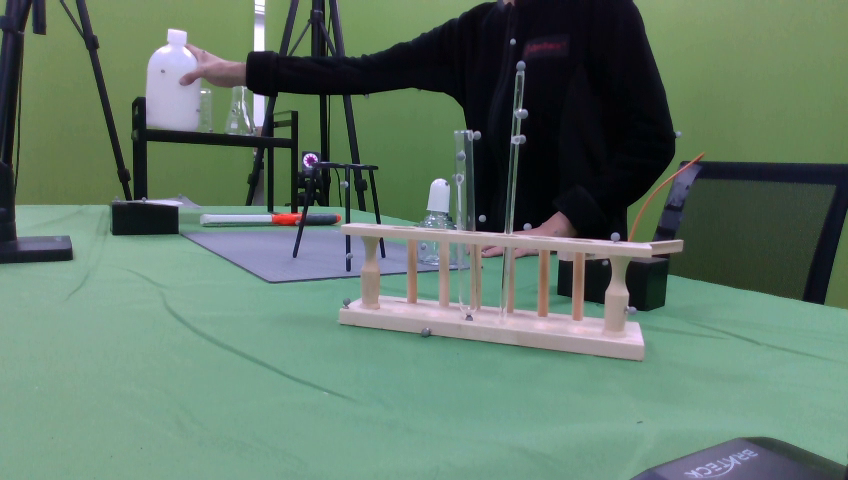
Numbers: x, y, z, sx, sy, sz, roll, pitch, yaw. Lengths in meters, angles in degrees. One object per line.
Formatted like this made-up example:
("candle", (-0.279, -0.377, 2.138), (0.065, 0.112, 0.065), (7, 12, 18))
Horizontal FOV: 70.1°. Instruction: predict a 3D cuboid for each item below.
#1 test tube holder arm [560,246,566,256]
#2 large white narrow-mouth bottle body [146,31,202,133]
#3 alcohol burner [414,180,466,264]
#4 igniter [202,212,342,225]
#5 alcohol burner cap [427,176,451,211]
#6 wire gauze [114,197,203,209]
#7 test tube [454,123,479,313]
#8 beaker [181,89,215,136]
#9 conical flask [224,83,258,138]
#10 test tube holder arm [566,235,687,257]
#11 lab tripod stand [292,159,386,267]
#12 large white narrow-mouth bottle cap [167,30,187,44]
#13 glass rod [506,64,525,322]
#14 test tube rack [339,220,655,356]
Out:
("test tube holder arm", (0.173, 0.007, 0.611), (0.088, 0.015, 0.010), (-3, 10, -30))
("large white narrow-mouth bottle body", (-0.503, -0.320, 1.221), (0.102, 0.194, 0.101), (8, 12, -1))
("alcohol burner", (0.021, -0.028, 0.826), (0.078, 0.119, 0.078), (0, 6, 0))
("igniter", (-0.298, -0.044, 1.216), (0.278, 0.025, 0.057), (-3, -2, -32))
("alcohol burner cap", (0.023, -0.064, 0.822), (0.034, 0.048, 0.034), (7, 5, 0))
("wire gauze", (-0.447, -0.062, 1.015), (0.126, 0.011, 0.121), (-2, 8, -31))
("test tube", (0.034, -0.016, 0.477), (0.017, 0.150, 0.017), (-2, 9, 1))
("beaker", (-0.511, -0.285, 1.353), (0.084, 0.100, 0.073), (-2, 8, -25))
("conical flask", (-0.422, -0.299, 1.395), (0.075, 0.122, 0.075), (2, 8, 0))
("test tube holder arm", (0.215, 0.006, 0.630), (0.179, 0.015, 0.013), (-3, 10, -30))
("lab tripod stand", (-0.105, -0.039, 0.798), (0.148, 0.131, 0.148), (2, 5, 0))
("large white narrow-mouth bottle cap", (-0.492, -0.403, 1.204), (0.038, 0.024, 0.037), (8, 12, -1))
("glass rod", (0.069, -0.030, 0.458), (0.008, 0.199, 0.008), (0, 15, 0))
("test tube rack", (0.056, 0.032, 0.495), (0.242, 0.085, 0.067), (4, 7, 15))
